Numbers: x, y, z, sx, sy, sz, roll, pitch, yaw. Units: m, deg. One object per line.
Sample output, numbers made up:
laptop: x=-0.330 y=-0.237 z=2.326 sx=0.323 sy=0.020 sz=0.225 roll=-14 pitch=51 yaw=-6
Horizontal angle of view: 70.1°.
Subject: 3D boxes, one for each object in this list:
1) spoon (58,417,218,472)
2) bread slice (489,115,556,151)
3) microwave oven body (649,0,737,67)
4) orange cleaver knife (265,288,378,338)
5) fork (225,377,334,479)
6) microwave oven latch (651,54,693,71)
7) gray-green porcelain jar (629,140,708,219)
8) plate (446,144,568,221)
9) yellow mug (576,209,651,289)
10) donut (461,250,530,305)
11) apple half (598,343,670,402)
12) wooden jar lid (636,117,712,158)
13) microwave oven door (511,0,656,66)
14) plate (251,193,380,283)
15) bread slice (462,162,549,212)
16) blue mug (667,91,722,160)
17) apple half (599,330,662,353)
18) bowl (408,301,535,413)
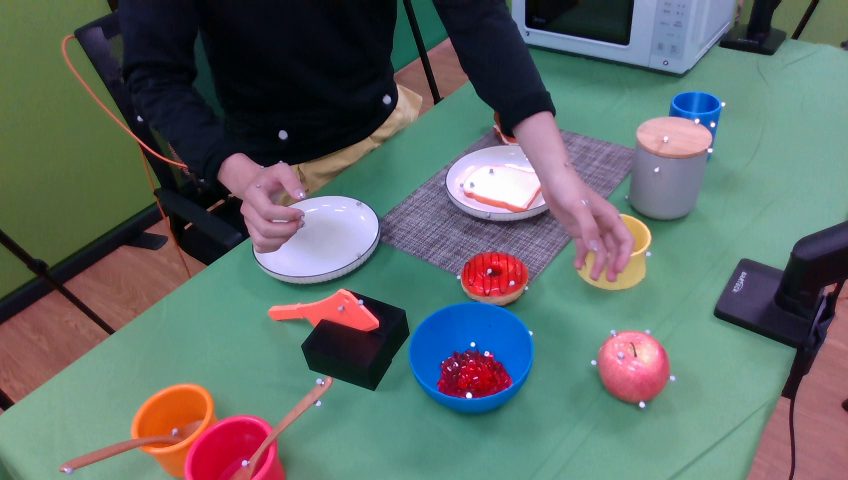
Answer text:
spoon: x=-0.304 y=0.221 z=0.661 sx=0.041 sy=0.195 sz=0.021 roll=19 pitch=92 yaw=27
bread slice: x=0.193 y=-0.201 z=1.167 sx=0.105 sy=0.019 sz=0.130 roll=-12 pitch=37 yaw=-6
microwave oven body: x=0.475 y=-0.602 z=1.411 sx=0.438 sy=0.261 sz=0.327 roll=23 pitch=50 yaw=32
orange cleaver knife: x=-0.143 y=0.105 z=0.823 sx=0.210 sy=0.077 sz=0.012 roll=-12 pitch=29 yaw=43
fork: x=-0.163 y=0.216 z=0.646 sx=0.207 sy=0.019 sz=0.028 roll=-49 pitch=42 yaw=16
microwave oven latch: x=0.531 y=-0.386 z=1.301 sx=0.078 sy=0.029 sz=0.030 roll=26 pitch=51 yaw=33
gray-green porcelain jar: x=0.383 y=-0.105 z=0.958 sx=0.106 sy=0.127 sz=0.105 roll=-4 pitch=41 yaw=4
plate: x=0.142 y=-0.096 z=1.045 sx=0.207 sy=0.039 sz=0.206 roll=-4 pitch=40 yaw=4
yellow mug: x=0.278 y=0.004 z=0.893 sx=0.099 sy=0.064 sz=0.130 roll=6 pitch=42 yaw=14
donut: x=0.103 y=0.053 z=0.872 sx=0.099 sy=0.048 sz=0.098 roll=-5 pitch=40 yaw=4
apple half: x=0.247 y=0.161 z=0.710 sx=0.081 sy=0.075 sz=0.053 roll=2 pitch=47 yaw=5
wooden jar lid: x=0.377 y=-0.151 z=0.917 sx=0.108 sy=0.021 sz=0.108 roll=-2 pitch=41 yaw=2
microwave oven door: x=0.350 y=-0.539 z=1.348 sx=0.353 sy=0.245 sz=0.039 roll=24 pitch=50 yaw=31
plate: x=-0.173 y=-0.001 z=0.985 sx=0.209 sy=0.038 sz=0.208 roll=-4 pitch=41 yaw=4
bread slice: x=0.135 y=-0.094 z=1.045 sx=0.133 sy=0.018 sz=0.107 roll=15 pitch=45 yaw=23
blue mug: x=0.474 y=-0.207 z=1.079 sx=0.082 sy=0.106 sz=0.116 roll=4 pitch=42 yaw=13
apple half: x=0.249 y=0.134 z=0.738 sx=0.081 sy=0.081 sz=0.032 roll=-1 pitch=46 yaw=7
bowl: x=0.060 y=0.156 z=0.739 sx=0.151 sy=0.077 sz=0.150 roll=-4 pitch=40 yaw=4
